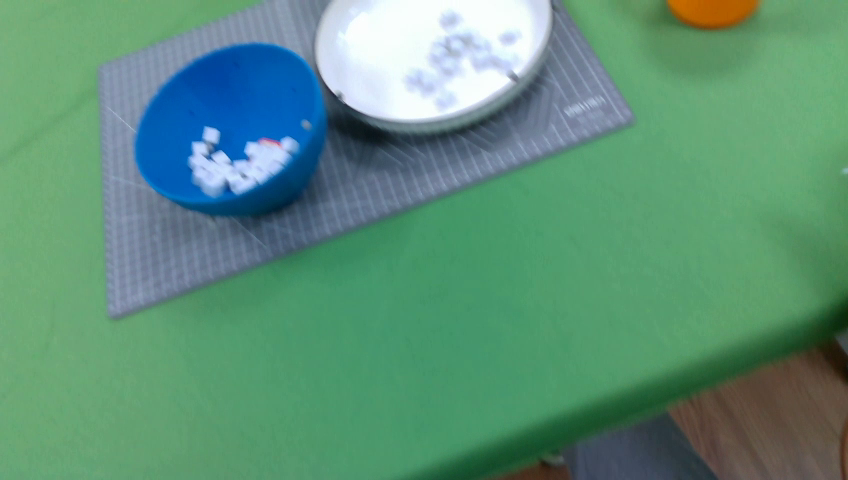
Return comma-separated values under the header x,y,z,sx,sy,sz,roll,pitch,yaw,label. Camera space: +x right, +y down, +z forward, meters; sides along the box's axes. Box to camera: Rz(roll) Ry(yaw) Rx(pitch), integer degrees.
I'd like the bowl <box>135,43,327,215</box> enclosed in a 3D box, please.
x,y,z,sx,sy,sz,roll,pitch,yaw,label
-0.141,-0.075,0.489,0.151,0.077,0.150,-5,62,10,bowl

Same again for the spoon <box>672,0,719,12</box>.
x,y,z,sx,sy,sz,roll,pitch,yaw,label
0.269,-0.254,0.456,0.022,0.194,0.041,-1,55,-40,spoon

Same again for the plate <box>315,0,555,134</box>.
x,y,z,sx,sy,sz,roll,pitch,yaw,label
0.009,-0.174,0.531,0.209,0.038,0.207,-5,62,10,plate
